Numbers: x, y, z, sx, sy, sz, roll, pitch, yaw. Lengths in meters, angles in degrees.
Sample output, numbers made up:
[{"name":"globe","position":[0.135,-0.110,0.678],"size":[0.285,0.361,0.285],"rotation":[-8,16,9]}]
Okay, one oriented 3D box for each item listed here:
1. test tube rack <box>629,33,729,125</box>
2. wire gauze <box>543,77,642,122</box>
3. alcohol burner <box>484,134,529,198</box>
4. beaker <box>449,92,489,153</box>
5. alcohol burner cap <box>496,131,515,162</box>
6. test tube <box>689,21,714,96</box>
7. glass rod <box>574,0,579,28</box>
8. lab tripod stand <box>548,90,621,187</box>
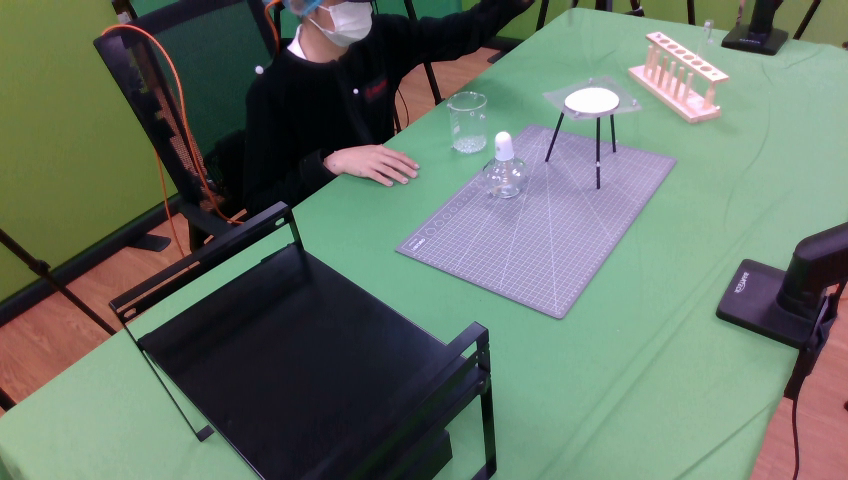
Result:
[{"name":"test tube rack","position":[0.516,-0.337,1.248],"size":[0.067,0.085,0.240],"rotation":[-14,41,-7]},{"name":"wire gauze","position":[0.282,-0.236,1.020],"size":[0.125,0.011,0.120],"rotation":[-15,40,-6]},{"name":"alcohol burner","position":[0.141,-0.133,1.041],"size":[0.078,0.119,0.077],"rotation":[-5,43,5]},{"name":"beaker","position":[0.092,-0.228,1.177],"size":[0.073,0.101,0.084],"rotation":[15,45,24]},{"name":"alcohol burner cap","position":[0.135,-0.160,1.019],"size":[0.034,0.048,0.033],"rotation":[-8,37,7]},{"name":"test tube","position":[0.542,-0.353,1.184],"size":[0.017,0.151,0.017],"rotation":[-2,40,2]},{"name":"glass rod","position":[0.277,-0.486,1.084],"size":[0.008,0.200,0.008],"rotation":[-3,23,2]},{"name":"lab tripod stand","position":[0.289,-0.184,1.062],"size":[0.148,0.132,0.147],"rotation":[-6,41,6]}]
